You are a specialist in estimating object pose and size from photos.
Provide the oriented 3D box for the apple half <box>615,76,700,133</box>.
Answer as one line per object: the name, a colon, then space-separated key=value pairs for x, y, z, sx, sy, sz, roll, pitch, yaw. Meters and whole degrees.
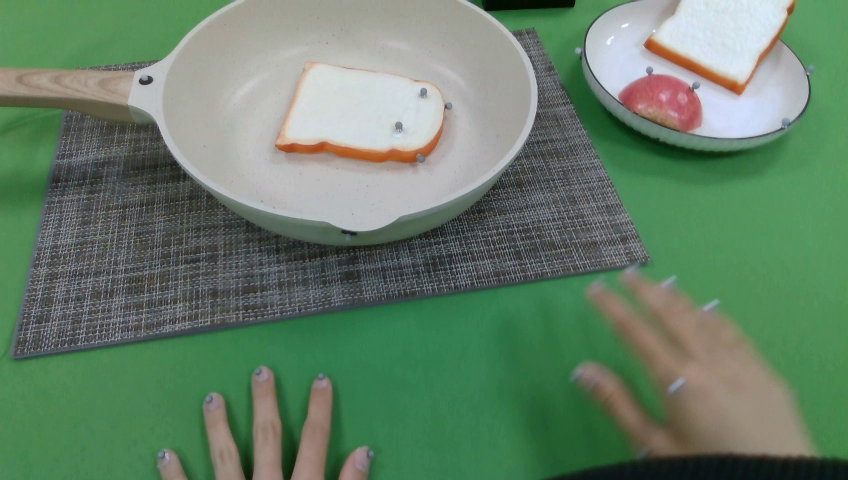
apple half: x=0.209 y=-0.124 z=0.527 sx=0.081 sy=0.033 sz=0.080 roll=13 pitch=30 yaw=-7

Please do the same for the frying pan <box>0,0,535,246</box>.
frying pan: x=-0.161 y=-0.112 z=0.473 sx=0.489 sy=0.103 sz=0.303 roll=2 pitch=52 yaw=-12

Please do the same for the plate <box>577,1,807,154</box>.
plate: x=0.246 y=-0.152 z=0.574 sx=0.208 sy=0.039 sz=0.205 roll=2 pitch=53 yaw=-2

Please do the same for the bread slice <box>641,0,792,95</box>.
bread slice: x=0.295 y=-0.217 z=0.598 sx=0.104 sy=0.019 sz=0.131 roll=34 pitch=79 yaw=19

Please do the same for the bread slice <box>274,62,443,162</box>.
bread slice: x=-0.051 y=-0.111 z=0.527 sx=0.134 sy=0.018 sz=0.106 roll=5 pitch=54 yaw=1
